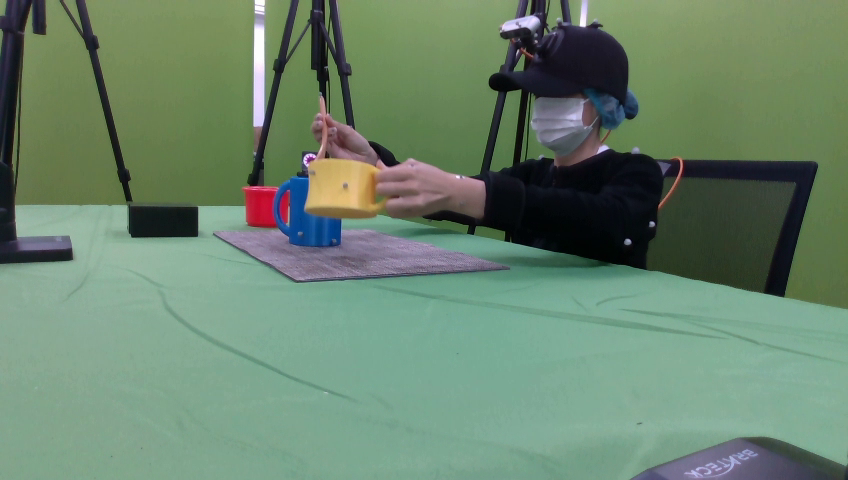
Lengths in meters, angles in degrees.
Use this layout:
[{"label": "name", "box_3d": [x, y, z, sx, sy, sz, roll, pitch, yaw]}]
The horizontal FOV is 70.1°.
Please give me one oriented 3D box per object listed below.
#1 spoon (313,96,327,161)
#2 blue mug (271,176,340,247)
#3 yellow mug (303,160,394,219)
[{"label": "spoon", "box_3d": [-0.168, -0.164, 0.996, 0.021, 0.193, 0.042, -9, -31, 13]}, {"label": "blue mug", "box_3d": [-0.190, -0.047, 0.963, 0.116, 0.106, 0.082, 4, 7, 13]}, {"label": "yellow mug", "box_3d": [-0.099, -0.067, 0.827, 0.130, 0.064, 0.100, 1, -7, 25]}]
